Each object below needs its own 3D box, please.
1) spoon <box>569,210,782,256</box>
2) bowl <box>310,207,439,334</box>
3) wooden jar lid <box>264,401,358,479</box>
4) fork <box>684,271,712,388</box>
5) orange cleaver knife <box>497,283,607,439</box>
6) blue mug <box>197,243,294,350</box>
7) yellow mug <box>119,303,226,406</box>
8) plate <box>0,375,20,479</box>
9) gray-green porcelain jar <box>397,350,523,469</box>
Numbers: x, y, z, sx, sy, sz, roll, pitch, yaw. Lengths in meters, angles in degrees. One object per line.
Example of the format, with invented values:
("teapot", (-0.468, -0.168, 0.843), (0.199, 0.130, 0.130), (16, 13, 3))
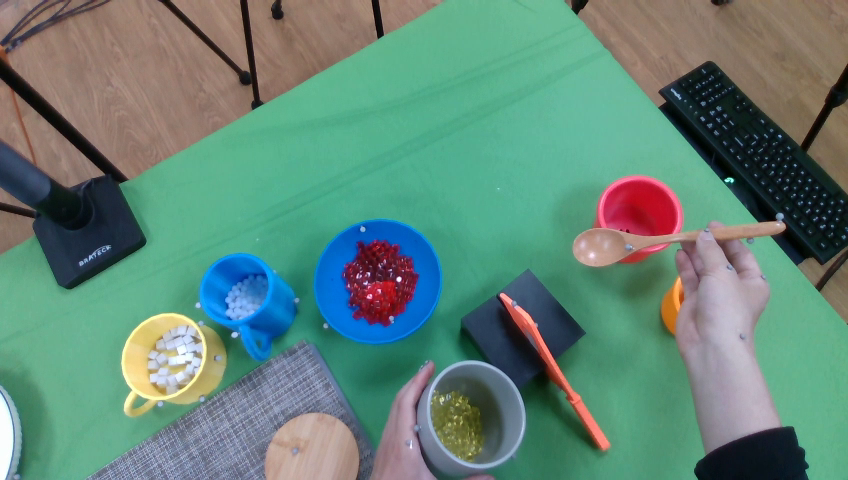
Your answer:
("spoon", (0.238, -0.011, 0.591), (0.193, 0.022, 0.041), (-7, 78, 35))
("bowl", (-0.055, 0.045, 0.732), (0.151, 0.077, 0.150), (-1, 73, 3))
("wooden jar lid", (-0.129, 0.242, 0.701), (0.108, 0.021, 0.108), (-1, 74, 2))
("fork", (0.303, 0.091, 0.664), (0.028, 0.019, 0.206), (26, 32, 6))
("orange cleaver knife", (0.144, 0.138, 0.692), (0.012, 0.077, 0.212), (-35, 104, -8))
("blue mug", (-0.205, 0.073, 0.716), (0.082, 0.106, 0.116), (-13, 72, -1))
("yellow mug", (-0.307, 0.142, 0.720), (0.099, 0.064, 0.130), (34, 78, 13))
("plate", (-0.576, 0.240, 0.716), (0.207, 0.039, 0.206), (-1, 73, 2))
("gray-green porcelain jar", (0.032, 0.187, 0.650), (0.106, 0.127, 0.105), (8, 61, -15))
